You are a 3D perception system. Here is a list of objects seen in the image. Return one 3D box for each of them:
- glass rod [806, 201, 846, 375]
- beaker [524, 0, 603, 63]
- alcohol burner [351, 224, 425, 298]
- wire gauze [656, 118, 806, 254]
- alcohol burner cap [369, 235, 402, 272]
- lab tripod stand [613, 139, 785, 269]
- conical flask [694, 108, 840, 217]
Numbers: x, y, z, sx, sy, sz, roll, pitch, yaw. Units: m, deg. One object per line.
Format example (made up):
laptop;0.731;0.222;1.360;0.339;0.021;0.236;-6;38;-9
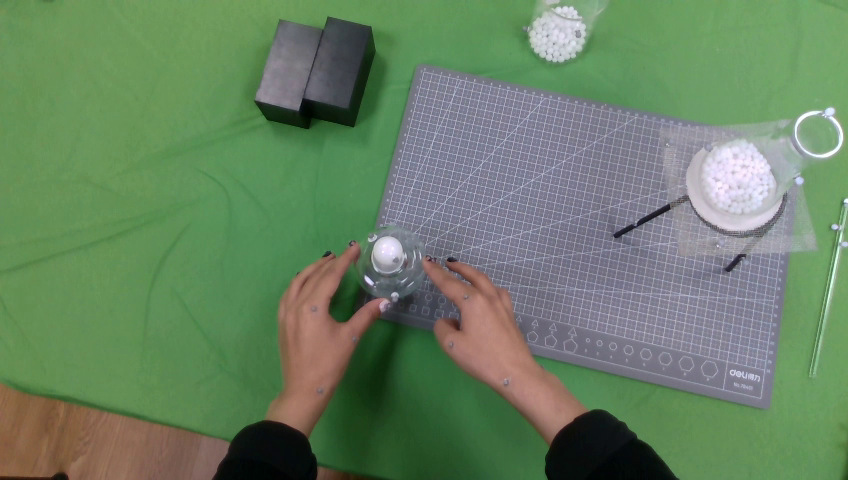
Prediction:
glass rod;0.437;0.049;0.658;0.008;0.008;0.199;18;79;4
beaker;0.154;-0.250;0.672;0.084;0.100;0.073;-27;80;-5
alcohol burner;-0.037;0.019;0.610;0.078;0.119;0.077;0;80;0
wire gauze;0.277;-0.048;0.544;0.125;0.011;0.121;-3;82;-2
alcohol burner cap;-0.036;0.011;0.574;0.034;0.048;0.033;1;78;-5
lab tripod stand;0.278;-0.033;0.608;0.148;0.132;0.148;0;80;1
conical flask;0.277;-0.065;0.487;0.075;0.122;0.075;0;81;1
